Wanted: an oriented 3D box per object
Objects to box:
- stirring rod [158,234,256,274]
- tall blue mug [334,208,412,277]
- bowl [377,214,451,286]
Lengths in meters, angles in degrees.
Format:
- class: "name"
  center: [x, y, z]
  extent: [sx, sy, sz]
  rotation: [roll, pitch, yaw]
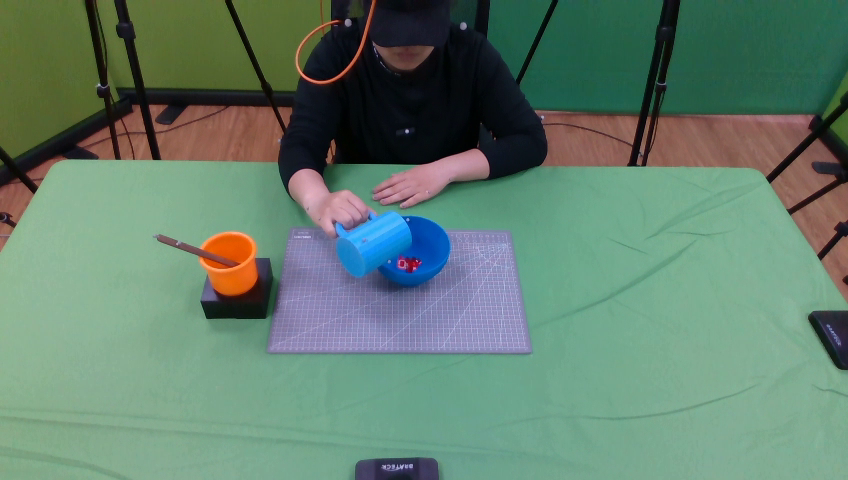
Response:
- class: "stirring rod"
  center: [-0.353, 0.024, 0.999]
  extent: [0.177, 0.006, 0.014]
  rotation: [26, 31, -40]
- class: "tall blue mug"
  center: [-0.093, -0.008, 1.028]
  extent: [0.108, 0.077, 0.107]
  rotation: [-32, 95, -34]
- class: "bowl"
  center: [-0.028, 0.031, 1.122]
  extent: [0.151, 0.077, 0.150]
  rotation: [2, 46, -2]
